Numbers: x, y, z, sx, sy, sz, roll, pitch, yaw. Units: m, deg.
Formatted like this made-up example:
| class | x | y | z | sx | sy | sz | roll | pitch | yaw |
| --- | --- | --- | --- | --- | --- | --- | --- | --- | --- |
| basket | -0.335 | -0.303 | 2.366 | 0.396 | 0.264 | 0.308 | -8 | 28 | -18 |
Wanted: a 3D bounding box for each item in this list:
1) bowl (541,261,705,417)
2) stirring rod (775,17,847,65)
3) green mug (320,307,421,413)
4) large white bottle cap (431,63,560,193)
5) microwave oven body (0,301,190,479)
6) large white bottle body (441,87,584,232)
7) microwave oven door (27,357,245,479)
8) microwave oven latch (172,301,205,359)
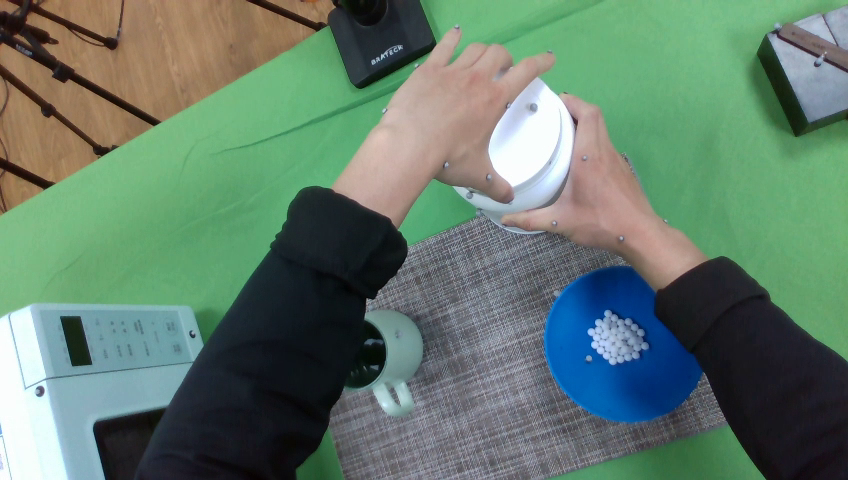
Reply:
| class | x | y | z | sx | sy | sz | roll | pitch | yaw |
| --- | --- | --- | --- | --- | --- | --- | --- | --- | --- |
| bowl | 0.200 | 0.098 | 0.619 | 0.151 | 0.077 | 0.151 | -2 | 84 | 19 |
| stirring rod | 0.409 | -0.160 | 0.559 | 0.175 | 0.006 | 0.014 | 37 | 131 | 18 |
| green mug | -0.051 | 0.136 | 0.685 | 0.092 | 0.105 | 0.124 | -32 | 76 | 12 |
| large white bottle cap | 0.062 | -0.099 | 0.536 | 0.114 | 0.018 | 0.114 | -2 | 82 | 18 |
| microwave oven body | -0.415 | 0.330 | 0.706 | 0.326 | 0.261 | 0.439 | -24 | 78 | 14 |
| large white bottle body | 0.090 | -0.086 | 0.617 | 0.130 | 0.186 | 0.130 | -3 | 80 | 19 |
| microwave oven door | -0.273 | 0.309 | 0.655 | 0.039 | 0.245 | 0.354 | -25 | 77 | 15 |
| microwave oven latch | -0.316 | 0.119 | 0.795 | 0.030 | 0.029 | 0.079 | -24 | 79 | 14 |
